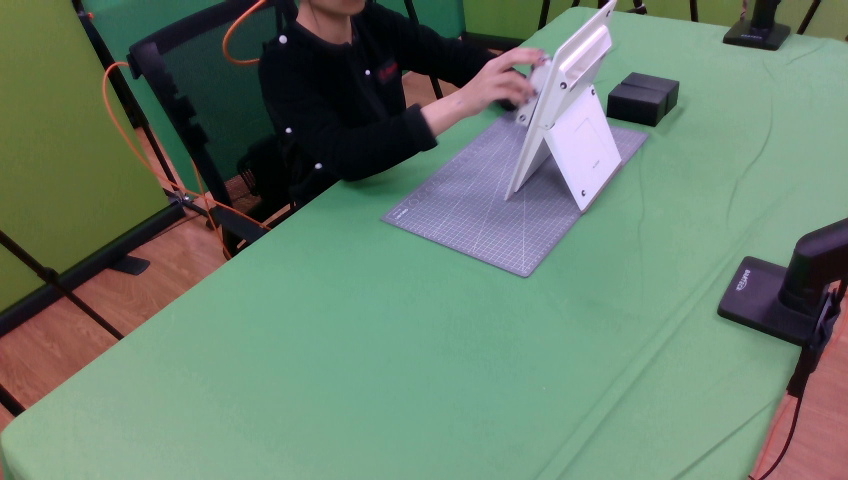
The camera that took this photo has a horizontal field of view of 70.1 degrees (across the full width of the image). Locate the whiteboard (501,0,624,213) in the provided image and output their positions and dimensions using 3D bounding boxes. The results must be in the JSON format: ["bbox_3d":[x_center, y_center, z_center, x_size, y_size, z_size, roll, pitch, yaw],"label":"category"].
[{"bbox_3d":[0.271,-0.189,0.977,0.143,0.306,0.218,34,53,16],"label":"whiteboard"}]

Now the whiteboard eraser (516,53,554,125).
[{"bbox_3d":[0.190,-0.253,1.016,0.042,0.112,0.055,14,31,-9],"label":"whiteboard eraser"}]
